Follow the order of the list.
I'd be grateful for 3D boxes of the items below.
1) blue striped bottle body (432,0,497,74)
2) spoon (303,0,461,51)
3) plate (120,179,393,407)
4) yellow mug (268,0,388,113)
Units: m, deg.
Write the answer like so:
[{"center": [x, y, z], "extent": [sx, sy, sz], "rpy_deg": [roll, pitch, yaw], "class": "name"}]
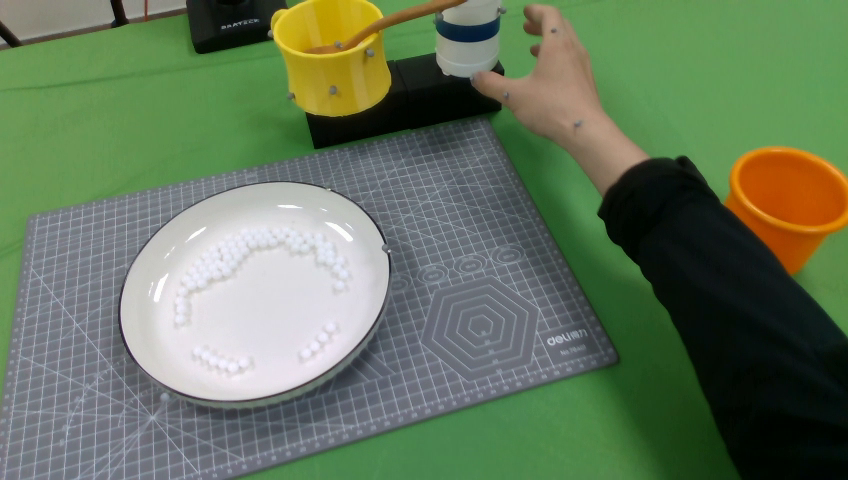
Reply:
[{"center": [0.038, -0.223, 0.567], "extent": [0.063, 0.122, 0.062], "rpy_deg": [-1, 52, 2], "class": "blue striped bottle body"}, {"center": [-0.046, -0.186, 0.535], "extent": [0.193, 0.022, 0.041], "rpy_deg": [-11, 40, 37], "class": "spoon"}, {"center": [-0.127, 0.038, 0.482], "extent": [0.207, 0.039, 0.205], "rpy_deg": [-1, 52, 1], "class": "plate"}, {"center": [-0.100, -0.183, 0.577], "extent": [0.130, 0.064, 0.099], "rpy_deg": [26, 57, 23], "class": "yellow mug"}]
